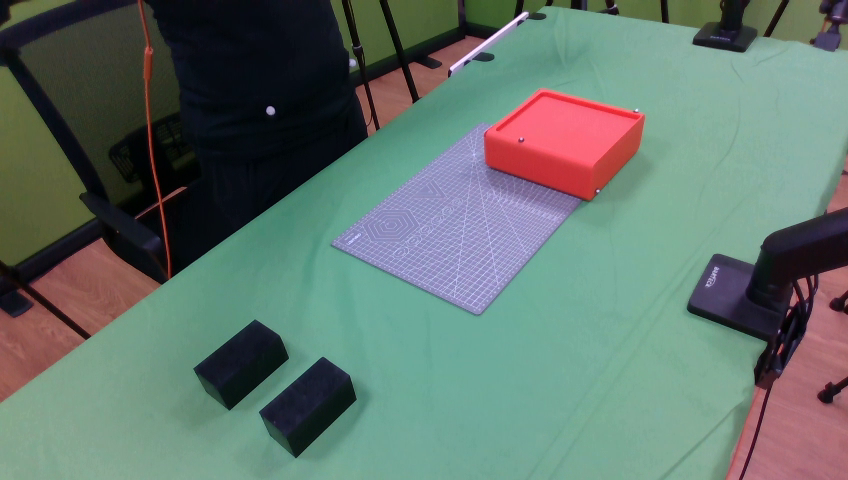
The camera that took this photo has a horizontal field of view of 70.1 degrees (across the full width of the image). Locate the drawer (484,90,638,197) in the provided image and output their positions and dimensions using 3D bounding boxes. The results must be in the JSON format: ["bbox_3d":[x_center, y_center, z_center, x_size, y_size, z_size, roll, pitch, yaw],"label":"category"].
[{"bbox_3d":[0.247,-0.180,1.097,0.210,0.073,0.195,25,49,31],"label":"drawer"}]

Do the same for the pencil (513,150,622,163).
[{"bbox_3d":[0.260,-0.150,1.099,0.194,0.012,0.012,-4,40,6],"label":"pencil"}]

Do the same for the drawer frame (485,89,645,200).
[{"bbox_3d":[0.253,-0.180,1.094,0.212,0.083,0.202,24,48,31],"label":"drawer frame"}]
